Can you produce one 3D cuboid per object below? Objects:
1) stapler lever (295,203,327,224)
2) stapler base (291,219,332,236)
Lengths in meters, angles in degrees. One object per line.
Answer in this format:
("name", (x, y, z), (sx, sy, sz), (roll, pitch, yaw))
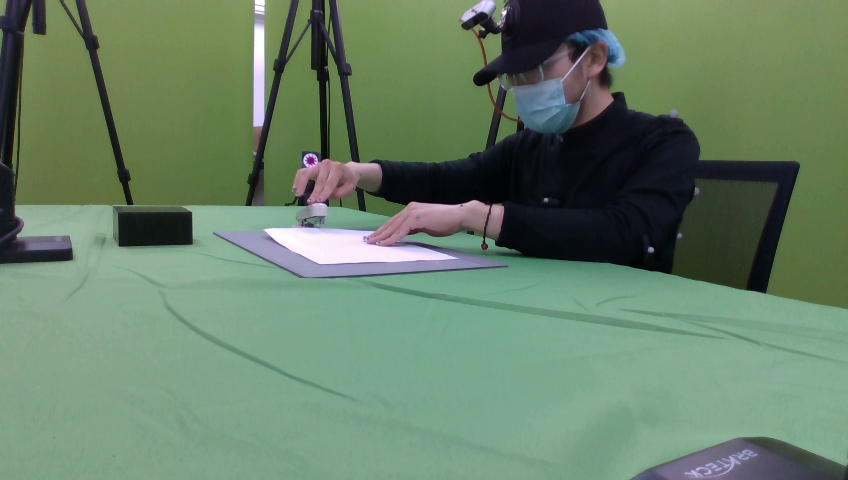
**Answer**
("stapler lever", (-0.208, -0.050, 1.109), (0.027, 0.040, 0.117), (0, 6, -29))
("stapler base", (-0.207, -0.026, 1.111), (0.041, 0.024, 0.130), (0, 5, -29))
